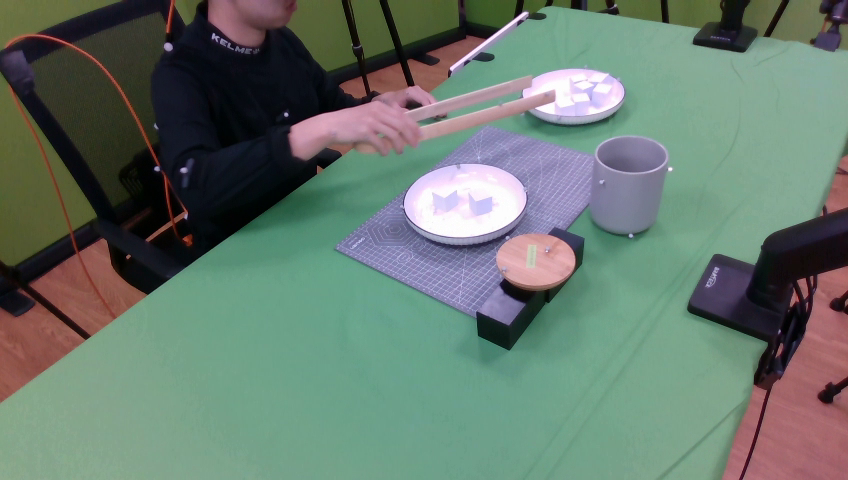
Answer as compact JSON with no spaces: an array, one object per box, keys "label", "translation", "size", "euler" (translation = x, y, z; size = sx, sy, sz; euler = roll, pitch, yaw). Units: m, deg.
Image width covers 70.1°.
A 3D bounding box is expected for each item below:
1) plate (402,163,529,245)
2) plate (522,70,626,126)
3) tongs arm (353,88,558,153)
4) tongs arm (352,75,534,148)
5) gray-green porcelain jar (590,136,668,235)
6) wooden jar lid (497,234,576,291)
[{"label":"plate","translation":[0.069,-0.056,1.008],"size":[0.209,0.038,0.208],"euler":[-4,40,4]},{"label":"plate","translation":[0.308,-0.290,1.251],"size":[0.207,0.039,0.206],"euler":[-4,40,4]},{"label":"tongs arm","translation":[0.063,-0.215,1.063],"size":[0.386,0.026,0.050],"euler":[-20,41,-19]},{"label":"tongs arm","translation":[0.044,-0.238,1.096],"size":[0.389,0.028,0.028],"euler":[-22,45,-21]},{"label":"gray-green porcelain jar","translation":[0.314,-0.080,0.937],"size":[0.106,0.127,0.105],"euler":[-4,41,4]},{"label":"wooden jar lid","translation":[0.155,0.032,0.834],"size":[0.108,0.021,0.108],"euler":[-5,40,5]}]
